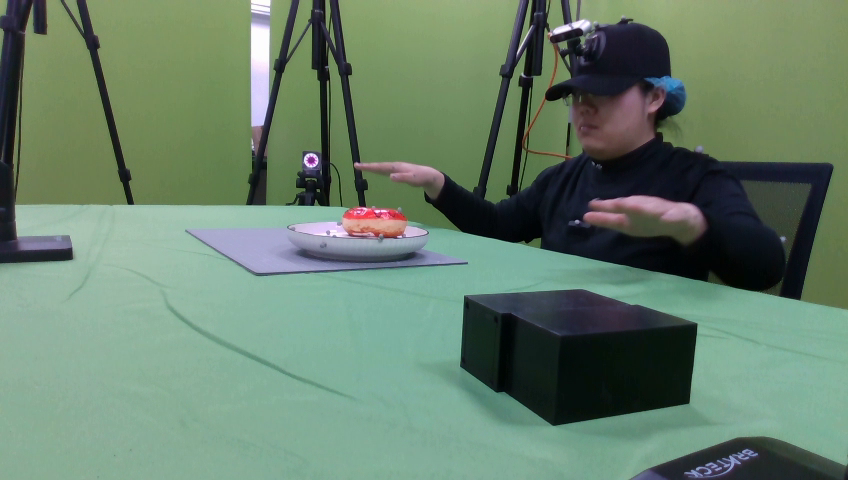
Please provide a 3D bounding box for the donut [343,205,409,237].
[{"bbox_3d":[-0.072,-0.027,0.894,0.099,0.048,0.099,4,3,0],"label":"donut"}]

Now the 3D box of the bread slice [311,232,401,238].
[{"bbox_3d":[-0.101,0.002,0.885,0.135,0.018,0.106,-3,8,-38],"label":"bread slice"}]

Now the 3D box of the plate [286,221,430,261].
[{"bbox_3d":[-0.096,0.001,0.886,0.209,0.038,0.209,2,7,0],"label":"plate"}]
